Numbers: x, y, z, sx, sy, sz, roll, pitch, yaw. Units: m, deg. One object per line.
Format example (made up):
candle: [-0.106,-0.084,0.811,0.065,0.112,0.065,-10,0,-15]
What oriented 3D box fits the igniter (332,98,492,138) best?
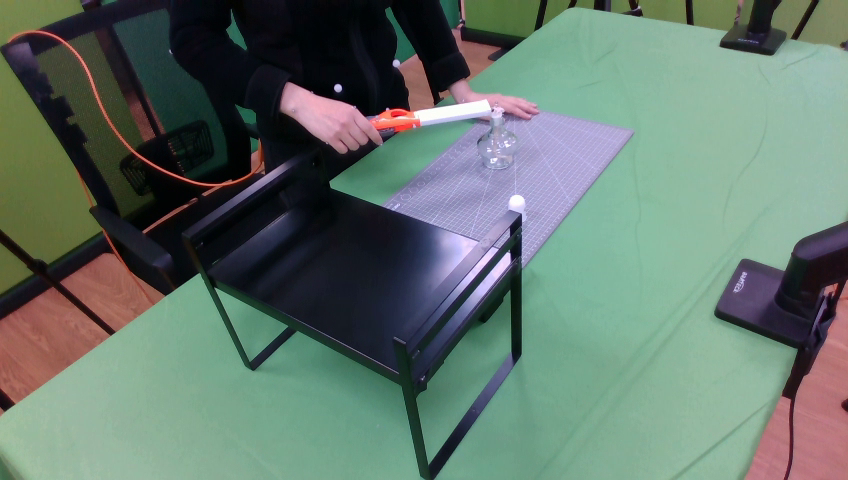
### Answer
igniter: [-0.020,-0.211,1.046,0.277,0.025,0.057,-10,52,-7]

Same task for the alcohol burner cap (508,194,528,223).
alcohol burner cap: [0.155,-0.054,0.996,0.034,0.048,0.033,-4,39,4]

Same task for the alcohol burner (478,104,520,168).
alcohol burner: [0.137,-0.193,1.106,0.078,0.119,0.077,-5,39,4]
